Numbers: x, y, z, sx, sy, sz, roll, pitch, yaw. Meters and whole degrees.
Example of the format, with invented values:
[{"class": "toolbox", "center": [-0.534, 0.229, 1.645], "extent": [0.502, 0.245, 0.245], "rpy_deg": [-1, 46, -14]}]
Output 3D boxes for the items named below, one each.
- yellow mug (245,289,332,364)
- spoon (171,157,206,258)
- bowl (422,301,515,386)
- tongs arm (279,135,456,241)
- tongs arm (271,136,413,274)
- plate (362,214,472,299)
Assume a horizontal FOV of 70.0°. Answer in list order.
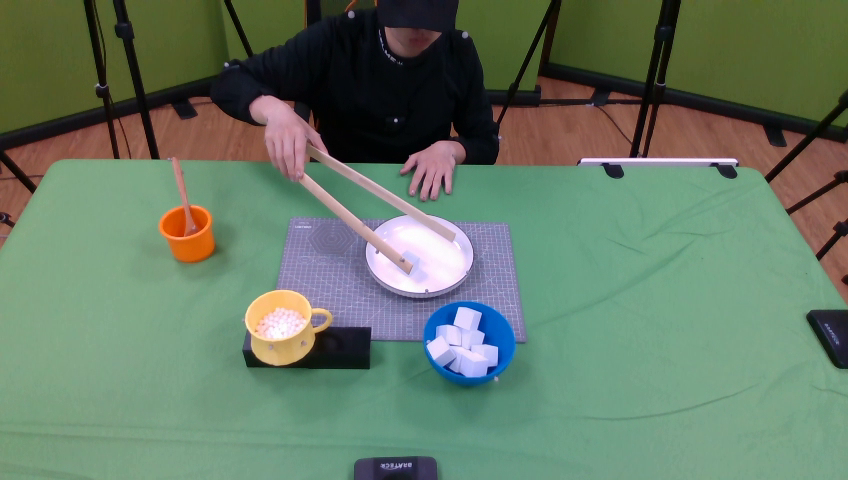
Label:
[{"class": "yellow mug", "center": [-0.210, 0.133, 0.954], "extent": [0.131, 0.064, 0.099], "rpy_deg": [-9, 48, -14]}, {"class": "spoon", "center": [-0.444, -0.061, 1.133], "extent": [0.042, 0.193, 0.021], "rpy_deg": [-12, 4, -20]}, {"class": "bowl", "center": [0.069, 0.182, 0.990], "extent": [0.151, 0.077, 0.150], "rpy_deg": [3, 46, -3]}, {"class": "tongs arm", "center": [-0.108, -0.100, 1.126], "extent": [0.386, 0.028, 0.028], "rpy_deg": [30, 47, 12]}, {"class": "tongs arm", "center": [-0.150, -0.070, 1.075], "extent": [0.383, 0.026, 0.051], "rpy_deg": [38, 46, 20]}, {"class": "plate", "center": [-0.014, 0.034, 1.150], "extent": [0.208, 0.039, 0.206], "rpy_deg": [2, 46, -2]}]
